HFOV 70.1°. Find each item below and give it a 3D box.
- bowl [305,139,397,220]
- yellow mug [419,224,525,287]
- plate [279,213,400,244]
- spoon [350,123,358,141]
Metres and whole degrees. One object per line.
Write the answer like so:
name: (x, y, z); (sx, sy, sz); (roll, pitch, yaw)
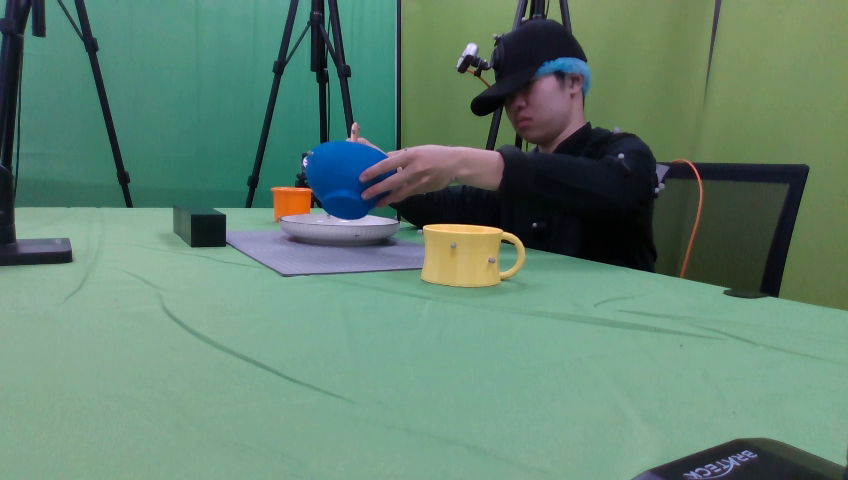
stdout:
bowl: (-0.122, -0.084, 0.967); (0.151, 0.076, 0.151); (5, -28, 3)
yellow mug: (0.060, 0.018, 0.746); (0.131, 0.064, 0.100); (3, 7, -7)
plate: (-0.147, -0.020, 1.060); (0.209, 0.038, 0.209); (3, 7, 0)
spoon: (-0.120, -0.135, 1.034); (0.042, 0.193, 0.021); (28, -52, -35)
